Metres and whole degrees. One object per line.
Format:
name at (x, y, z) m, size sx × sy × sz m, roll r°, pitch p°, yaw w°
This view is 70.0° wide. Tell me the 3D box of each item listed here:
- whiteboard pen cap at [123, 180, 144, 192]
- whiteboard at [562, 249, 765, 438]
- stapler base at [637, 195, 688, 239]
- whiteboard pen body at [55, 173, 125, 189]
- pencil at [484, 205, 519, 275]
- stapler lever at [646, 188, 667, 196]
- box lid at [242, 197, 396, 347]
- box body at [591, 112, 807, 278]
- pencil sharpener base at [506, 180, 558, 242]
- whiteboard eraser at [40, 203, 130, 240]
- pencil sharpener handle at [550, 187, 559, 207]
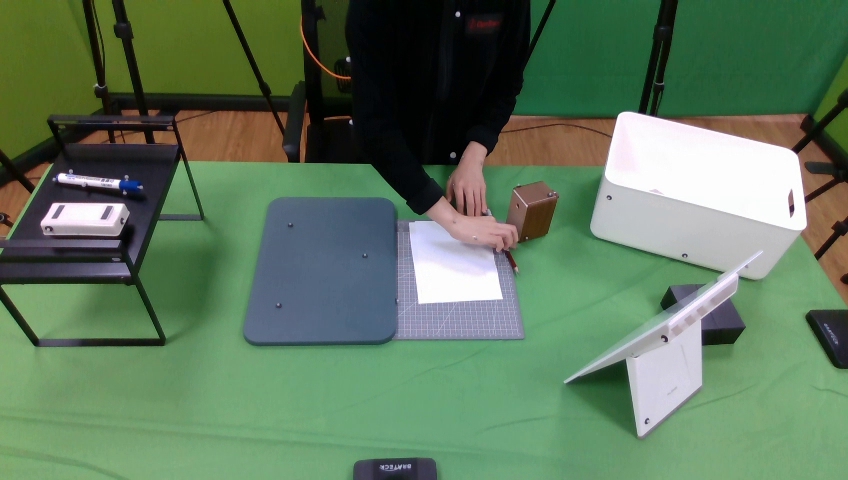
whiteboard pen cap at (-0.479, -0.089, 0.993) m, size 0.033 × 0.018 × 0.018 m, roll 7°, pitch 46°, yaw 14°
whiteboard at (0.386, 0.175, 0.905) m, size 0.217 × 0.306 × 0.143 m, roll -26°, pitch 72°, yaw -26°
stapler base at (0.507, -0.055, 1.280) m, size 0.041 × 0.024 × 0.129 m, roll -14°, pitch 47°, yaw -19°
whiteboard pen body at (-0.539, -0.095, 0.998) m, size 0.141 × 0.017 × 0.017 m, roll 7°, pitch 46°, yaw 6°
pencil at (0.156, -0.002, 1.218) m, size 0.012 × 0.012 × 0.192 m, roll -9°, pitch 49°, yaw -13°
stapler lever at (0.507, -0.075, 1.262) m, size 0.027 × 0.040 × 0.117 m, roll -14°, pitch 46°, yaw -19°
box lid at (-0.186, 0.046, 1.147) m, size 0.263 × 0.015 × 0.369 m, roll 0°, pitch 46°, yaw -3°
box body at (0.540, -0.092, 1.229) m, size 0.363 × 0.161 × 0.253 m, roll 16°, pitch 47°, yaw 11°
pencil sharpener base at (0.216, -0.058, 1.211) m, size 0.077 × 0.107 × 0.061 m, roll -16°, pitch 49°, yaw -19°
whiteboard eraser at (-0.513, -0.028, 0.922) m, size 0.113 × 0.042 × 0.055 m, roll 1°, pitch 48°, yaw -3°
pencil sharpener handle at (0.261, -0.084, 1.221) m, size 0.031 × 0.068 × 0.036 m, roll -16°, pitch 66°, yaw -19°
